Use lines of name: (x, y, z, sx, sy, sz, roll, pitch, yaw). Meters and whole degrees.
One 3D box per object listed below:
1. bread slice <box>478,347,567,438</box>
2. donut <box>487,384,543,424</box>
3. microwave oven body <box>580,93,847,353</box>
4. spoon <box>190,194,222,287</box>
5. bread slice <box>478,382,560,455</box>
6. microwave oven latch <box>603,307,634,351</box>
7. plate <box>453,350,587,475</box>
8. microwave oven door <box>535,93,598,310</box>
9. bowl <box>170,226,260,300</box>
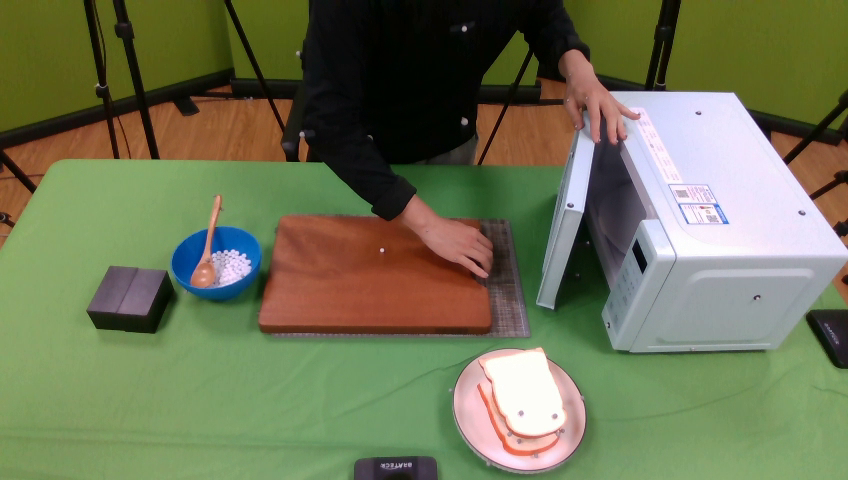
bread slice: (0.152, 0.227, 0.902, 0.107, 0.018, 0.133, -11, 53, -16)
donut: (0.146, 0.242, 0.928, 0.099, 0.048, 0.098, -3, 40, 3)
microwave oven body: (0.475, -0.041, 1.109, 0.326, 0.261, 0.438, -1, 45, -4)
spoon: (-0.383, 0.000, 1.088, 0.041, 0.022, 0.193, 0, 66, 5)
bread slice: (0.154, 0.268, 0.943, 0.105, 0.019, 0.130, -10, 47, -12)
microwave oven latch: (0.332, 0.153, 1.044, 0.030, 0.029, 0.078, 0, 45, -3)
plate: (0.146, 0.267, 0.943, 0.208, 0.039, 0.206, 3, 46, -2)
microwave oven door: (0.270, -0.081, 1.125, 0.039, 0.245, 0.354, 14, 46, 9)
bowl: (-0.364, 0.054, 1.081, 0.151, 0.077, 0.150, 3, 45, -2)
